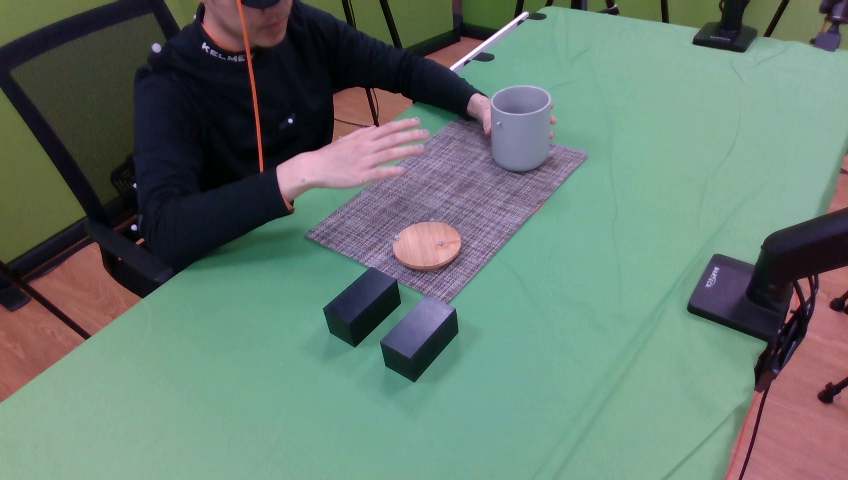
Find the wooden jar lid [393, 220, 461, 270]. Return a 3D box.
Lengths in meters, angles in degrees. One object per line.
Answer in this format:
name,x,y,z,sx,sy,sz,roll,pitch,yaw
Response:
wooden jar lid,0.005,0.010,0.951,0.108,0.021,0.108,-4,40,4

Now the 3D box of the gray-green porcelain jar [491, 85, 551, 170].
gray-green porcelain jar,0.174,-0.198,1.087,0.106,0.127,0.105,-4,41,4
